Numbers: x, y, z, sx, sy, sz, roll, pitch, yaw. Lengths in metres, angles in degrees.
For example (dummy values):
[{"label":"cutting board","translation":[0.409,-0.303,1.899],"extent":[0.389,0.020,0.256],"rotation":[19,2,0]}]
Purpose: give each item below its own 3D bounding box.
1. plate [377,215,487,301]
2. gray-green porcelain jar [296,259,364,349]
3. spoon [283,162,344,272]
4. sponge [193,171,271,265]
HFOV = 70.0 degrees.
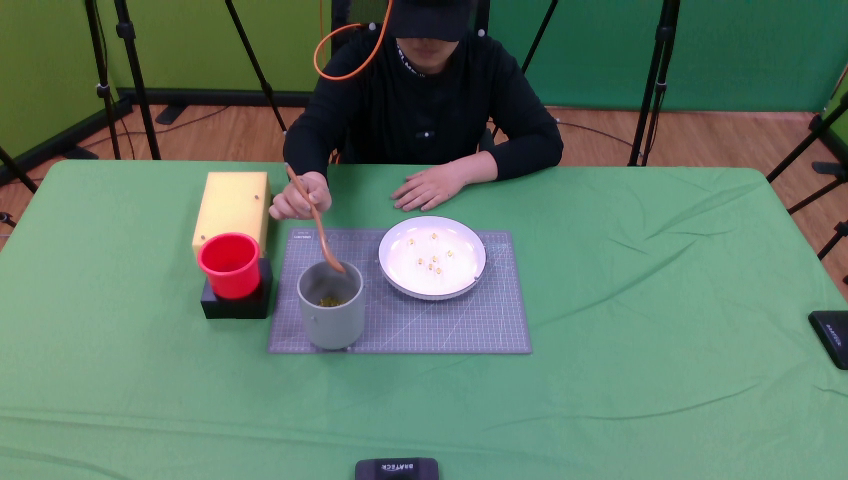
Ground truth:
[{"label":"plate","translation":[0.015,0.037,1.148],"extent":[0.208,0.039,0.206],"rotation":[2,46,-2]},{"label":"gray-green porcelain jar","translation":[-0.152,0.111,1.003],"extent":[0.106,0.127,0.105],"rotation":[2,46,-2]},{"label":"spoon","translation":[-0.172,-0.034,0.948],"extent":[0.021,0.194,0.041],"rotation":[-22,9,3]},{"label":"sponge","translation":[-0.371,-0.047,1.189],"extent":[0.118,0.061,0.205],"rotation":[-2,47,-6]}]
